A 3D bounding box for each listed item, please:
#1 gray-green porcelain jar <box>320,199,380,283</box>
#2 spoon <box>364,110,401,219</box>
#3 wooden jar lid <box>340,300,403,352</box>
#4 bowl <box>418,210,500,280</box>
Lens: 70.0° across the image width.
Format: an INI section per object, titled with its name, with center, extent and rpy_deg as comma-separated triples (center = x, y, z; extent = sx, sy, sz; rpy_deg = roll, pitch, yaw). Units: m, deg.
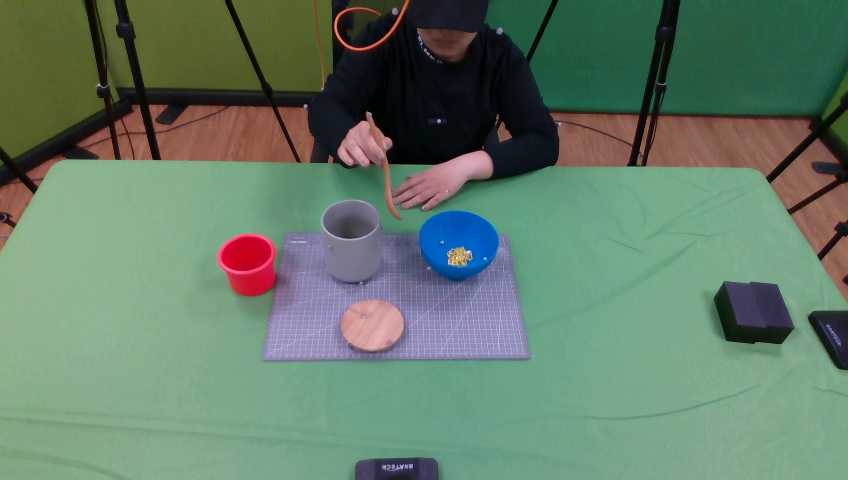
[gray-green porcelain jar]
center = -0.133, 0.007, 1.106
extent = 0.106, 0.127, 0.105
rpy_deg = 2, 46, -2
[spoon]
center = -0.068, -0.122, 1.012
extent = 0.021, 0.194, 0.041
rpy_deg = -13, 22, -4
[wooden jar lid]
center = -0.090, 0.150, 1.046
extent = 0.108, 0.021, 0.107
rpy_deg = 3, 47, -3
[bowl]
center = 0.062, 0.022, 1.140
extent = 0.151, 0.077, 0.150
rpy_deg = 2, 46, -2
